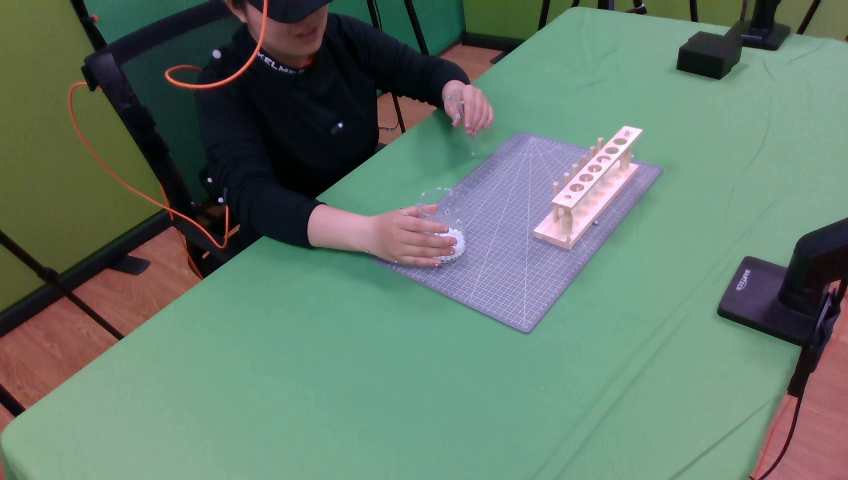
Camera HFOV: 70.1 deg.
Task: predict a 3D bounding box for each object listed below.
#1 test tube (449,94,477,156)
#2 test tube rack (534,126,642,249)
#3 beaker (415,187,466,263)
[{"bbox_3d":[0.073,-0.207,1.109,0.017,0.151,0.017,-10,52,14],"label":"test tube"},{"bbox_3d":[0.271,-0.095,0.990,0.066,0.085,0.243,23,49,33],"label":"test tube rack"},{"bbox_3d":[0.030,-0.022,0.937,0.073,0.100,0.084,14,43,23],"label":"beaker"}]
